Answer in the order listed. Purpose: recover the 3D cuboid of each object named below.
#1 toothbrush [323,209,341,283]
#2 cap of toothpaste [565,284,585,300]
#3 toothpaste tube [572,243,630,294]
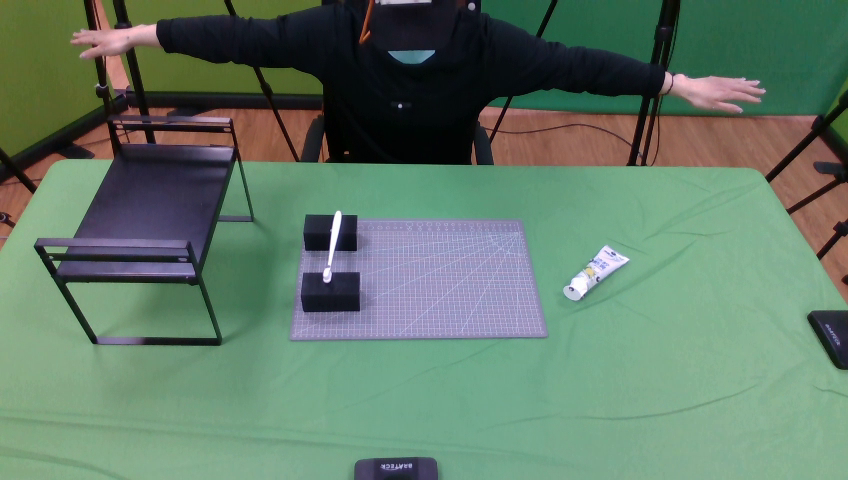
[{"bbox_3d":[-0.167,0.005,1.106,0.014,0.017,0.180,-5,45,6],"label":"toothbrush"},{"bbox_3d":[0.277,0.094,1.111,0.037,0.037,0.011,26,52,19],"label":"cap of toothpaste"},{"bbox_3d":[0.334,0.057,1.158,0.055,0.034,0.165,40,52,21],"label":"toothpaste tube"}]
